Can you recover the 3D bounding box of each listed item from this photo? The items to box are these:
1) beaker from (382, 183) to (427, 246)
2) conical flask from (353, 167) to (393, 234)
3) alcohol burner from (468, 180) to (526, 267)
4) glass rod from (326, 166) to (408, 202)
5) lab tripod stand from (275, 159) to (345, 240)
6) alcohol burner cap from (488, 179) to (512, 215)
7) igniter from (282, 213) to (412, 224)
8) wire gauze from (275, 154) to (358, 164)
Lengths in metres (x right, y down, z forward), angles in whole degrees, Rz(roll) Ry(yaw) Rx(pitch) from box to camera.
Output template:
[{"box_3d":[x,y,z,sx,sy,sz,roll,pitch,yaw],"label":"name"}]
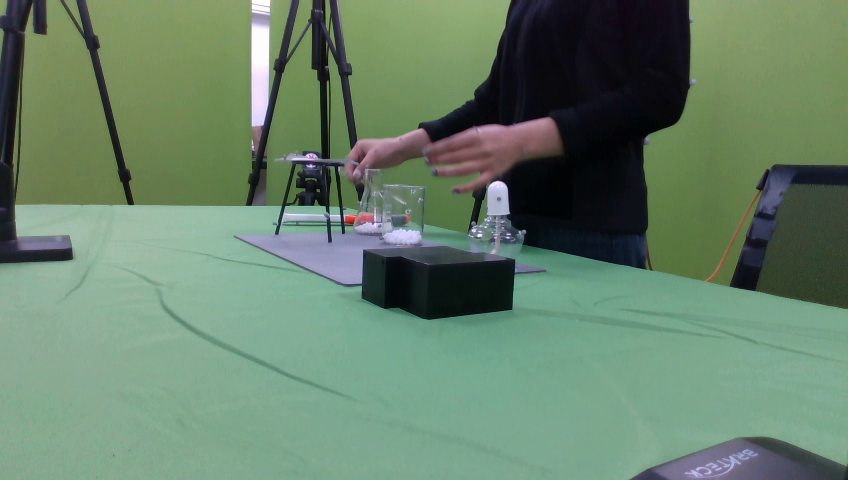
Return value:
[{"box_3d":[-0.032,-0.044,1.008,0.074,0.100,0.084,6,7,22],"label":"beaker"},{"box_3d":[-0.094,-0.073,1.126,0.075,0.122,0.075,2,7,0],"label":"conical flask"},{"box_3d":[0.101,-0.022,0.821,0.078,0.119,0.078,4,8,0],"label":"alcohol burner"},{"box_3d":[-0.109,-0.109,1.186,0.201,0.008,0.008,21,-5,-36],"label":"glass rod"},{"box_3d":[-0.181,-0.072,1.039,0.148,0.131,0.148,4,8,0],"label":"lab tripod stand"},{"box_3d":[0.101,-0.058,0.816,0.034,0.048,0.034,-5,8,1],"label":"alcohol burner cap"},{"box_3d":[-0.159,-0.046,1.286,0.278,0.025,0.057,-1,-3,-22],"label":"igniter"},{"box_3d":[-0.179,-0.137,1.028,0.121,0.011,0.125,4,8,0],"label":"wire gauze"}]
